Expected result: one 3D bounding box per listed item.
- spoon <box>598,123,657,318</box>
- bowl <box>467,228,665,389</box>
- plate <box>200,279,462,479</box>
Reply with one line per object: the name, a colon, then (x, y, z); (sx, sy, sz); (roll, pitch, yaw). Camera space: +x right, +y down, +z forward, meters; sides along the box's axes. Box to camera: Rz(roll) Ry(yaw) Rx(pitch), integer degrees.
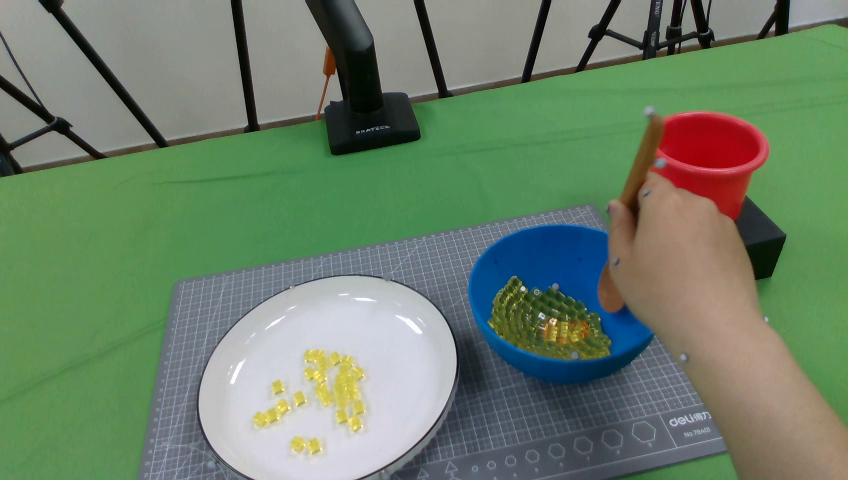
spoon: (0.140, -0.004, 0.424); (0.021, 0.196, 0.041); (-10, 52, 4)
bowl: (0.111, 0.067, 0.493); (0.151, 0.077, 0.150); (-4, 41, 4)
plate: (-0.072, 0.117, 0.494); (0.207, 0.039, 0.205); (-4, 41, 4)
